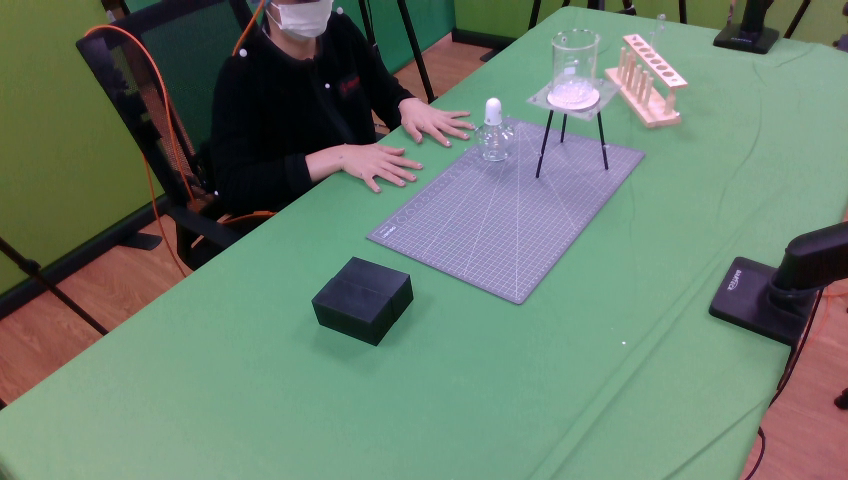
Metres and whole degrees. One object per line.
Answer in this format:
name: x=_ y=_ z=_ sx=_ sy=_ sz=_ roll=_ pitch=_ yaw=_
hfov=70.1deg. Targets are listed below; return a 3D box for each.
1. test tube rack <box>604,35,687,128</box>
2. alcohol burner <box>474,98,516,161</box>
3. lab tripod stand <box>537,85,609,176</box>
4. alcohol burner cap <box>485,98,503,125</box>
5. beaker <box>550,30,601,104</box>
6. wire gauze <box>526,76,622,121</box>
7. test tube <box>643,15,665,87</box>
test tube rack: x=0.447 y=-0.330 z=1.241 sx=0.067 sy=0.085 sz=0.241 roll=-9 pitch=41 yaw=-2
alcohol burner: x=0.131 y=-0.208 z=1.121 sx=0.078 sy=0.119 sz=0.077 roll=-6 pitch=41 yaw=5
lab tripod stand: x=0.259 y=-0.192 z=1.068 sx=0.148 sy=0.132 sz=0.147 roll=-4 pitch=43 yaw=4
alcohol burner cap: x=0.126 y=-0.234 z=1.097 sx=0.034 sy=0.048 sz=0.033 roll=-3 pitch=39 yaw=3
beaker: x=0.249 y=-0.285 z=1.001 sx=0.084 sy=0.101 sz=0.073 roll=-13 pitch=43 yaw=-5
wire gauze: x=0.255 y=-0.247 z=1.031 sx=0.124 sy=0.011 sz=0.122 roll=23 pitch=49 yaw=34
test tube: x=0.460 y=-0.378 z=1.219 sx=0.017 sy=0.151 sz=0.017 roll=-1 pitch=43 yaw=1
